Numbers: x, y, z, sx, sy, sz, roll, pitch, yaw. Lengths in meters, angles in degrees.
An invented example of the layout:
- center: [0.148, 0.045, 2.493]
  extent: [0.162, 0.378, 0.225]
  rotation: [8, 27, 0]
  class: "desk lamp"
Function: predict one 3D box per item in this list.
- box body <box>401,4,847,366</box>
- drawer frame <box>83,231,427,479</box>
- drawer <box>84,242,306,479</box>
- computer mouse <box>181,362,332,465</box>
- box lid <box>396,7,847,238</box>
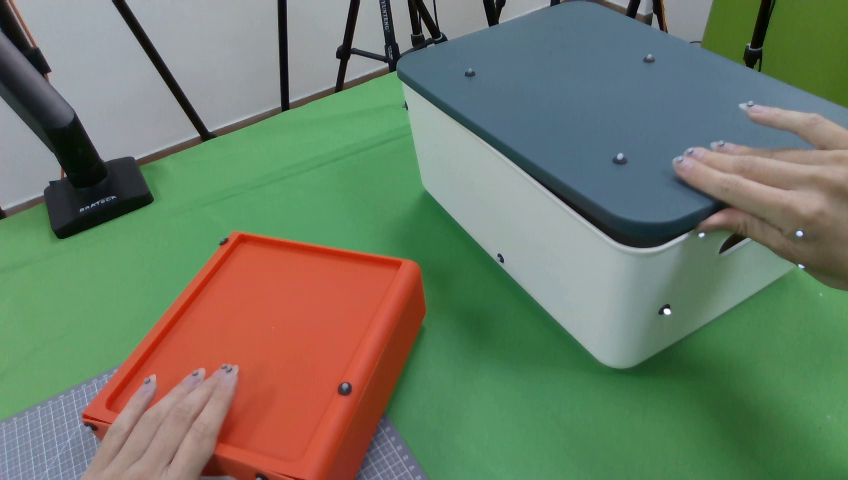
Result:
- center: [0.170, -0.078, 0.606]
  extent: [0.254, 0.162, 0.360]
  rotation: [-25, 45, -18]
  class: "box body"
- center: [-0.127, 0.100, 0.513]
  extent: [0.201, 0.083, 0.212]
  rotation: [8, 44, 17]
  class: "drawer frame"
- center: [-0.127, 0.104, 0.512]
  extent: [0.193, 0.074, 0.210]
  rotation: [8, 44, 18]
  class: "drawer"
- center: [-0.137, 0.138, 0.495]
  extent: [0.117, 0.041, 0.062]
  rotation: [14, 43, 13]
  class: "computer mouse"
- center: [0.163, -0.135, 0.551]
  extent: [0.264, 0.015, 0.367]
  rotation: [-22, 42, -20]
  class: "box lid"
